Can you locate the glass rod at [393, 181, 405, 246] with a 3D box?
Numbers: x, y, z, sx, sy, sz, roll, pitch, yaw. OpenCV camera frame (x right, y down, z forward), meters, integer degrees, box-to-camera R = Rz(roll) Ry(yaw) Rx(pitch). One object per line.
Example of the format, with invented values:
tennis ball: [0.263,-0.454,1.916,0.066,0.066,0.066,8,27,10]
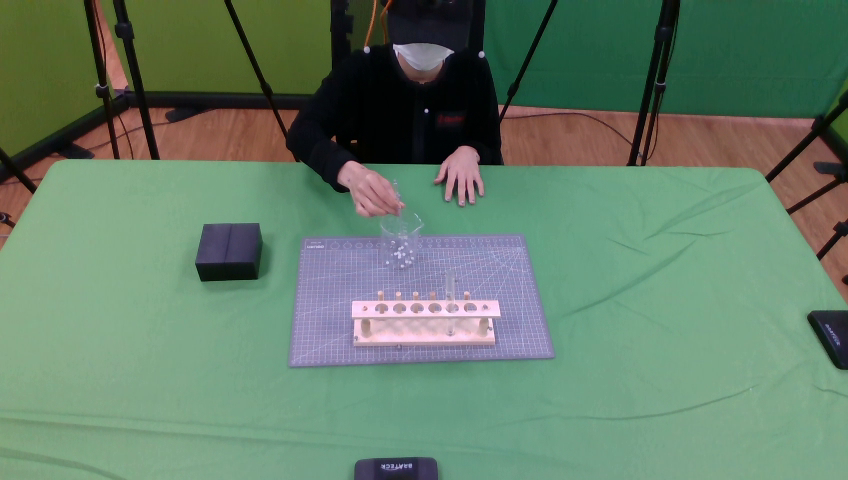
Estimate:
glass rod: [-0.044,-0.043,1.106,0.008,0.201,0.008,-2,57,3]

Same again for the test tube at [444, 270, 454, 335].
test tube: [0.041,0.105,0.983,0.017,0.151,0.017,-1,44,1]

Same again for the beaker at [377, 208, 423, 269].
beaker: [-0.046,0.000,1.138,0.084,0.101,0.073,3,46,-3]

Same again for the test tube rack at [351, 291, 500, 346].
test tube rack: [0.000,0.129,1.026,0.242,0.085,0.066,0,46,-4]
